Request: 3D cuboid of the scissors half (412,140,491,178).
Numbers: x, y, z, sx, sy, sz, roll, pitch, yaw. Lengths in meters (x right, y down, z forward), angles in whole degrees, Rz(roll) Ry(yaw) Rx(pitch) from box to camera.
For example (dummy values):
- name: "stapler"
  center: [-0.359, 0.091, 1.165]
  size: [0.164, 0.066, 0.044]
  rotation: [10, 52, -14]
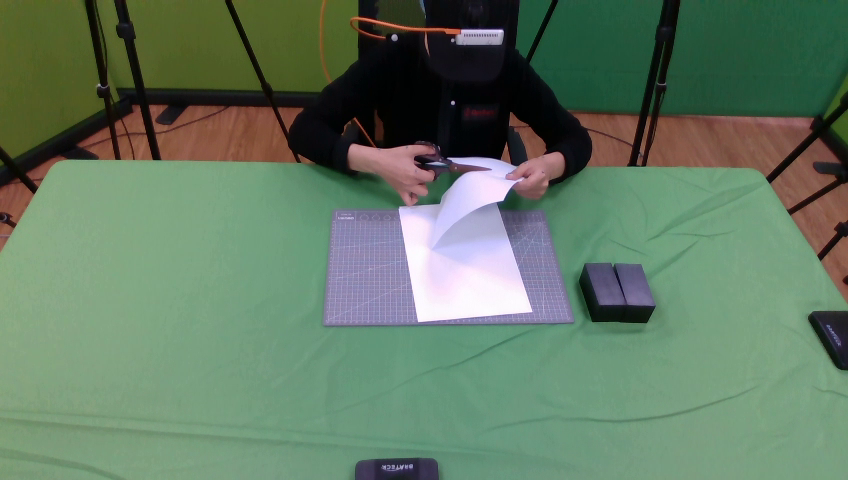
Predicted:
- name: "scissors half"
  center: [0.055, -0.161, 1.221]
  size: [0.175, 0.040, 0.013]
  rotation: [26, 36, 8]

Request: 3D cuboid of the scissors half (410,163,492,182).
- name: "scissors half"
  center: [0.054, -0.141, 1.232]
  size: [0.175, 0.040, 0.013]
  rotation: [-1, 24, 23]
